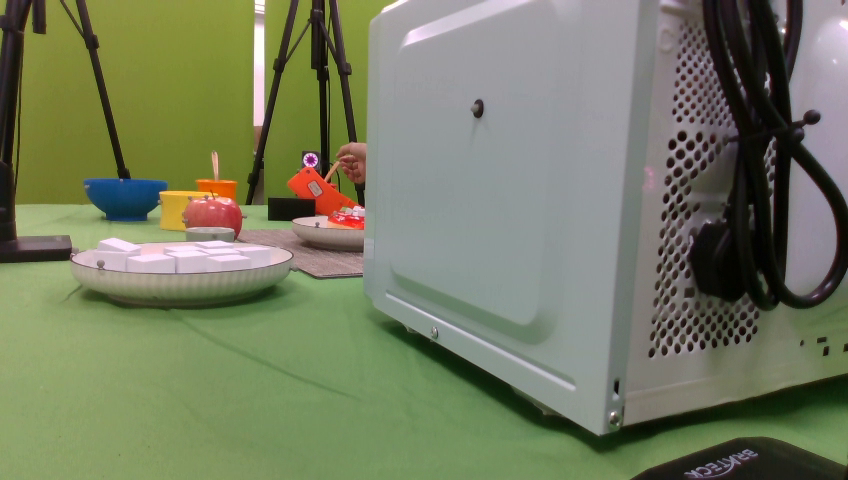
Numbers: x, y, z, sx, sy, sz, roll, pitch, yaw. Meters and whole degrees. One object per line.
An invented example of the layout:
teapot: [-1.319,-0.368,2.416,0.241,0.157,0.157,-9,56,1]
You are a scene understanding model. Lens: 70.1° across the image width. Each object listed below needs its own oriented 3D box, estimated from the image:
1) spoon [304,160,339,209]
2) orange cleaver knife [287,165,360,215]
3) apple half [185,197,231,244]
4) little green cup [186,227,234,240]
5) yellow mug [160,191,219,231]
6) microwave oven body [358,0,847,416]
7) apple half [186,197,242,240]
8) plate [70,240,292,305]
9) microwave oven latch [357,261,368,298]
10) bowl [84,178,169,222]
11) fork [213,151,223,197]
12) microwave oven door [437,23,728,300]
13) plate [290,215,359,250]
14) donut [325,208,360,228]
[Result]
spoon: [-0.259,-0.147,1.567,0.041,0.022,0.193,7,52,19]
orange cleaver knife: [-0.210,-0.093,1.382,0.212,0.077,0.012,33,1,-15]
apple half: [-0.337,-0.031,0.928,0.032,0.081,0.082,13,13,37]
little green cup: [-0.285,0.005,0.805,0.061,0.038,0.061,2,8,0]
yellow mug: [-0.416,-0.053,1.103,0.130,0.064,0.100,7,8,27]
microwave oven body: [0.211,-0.047,0.474,0.444,0.260,0.324,-1,7,-28]
apple half: [-0.306,-0.026,0.905,0.053,0.074,0.081,14,9,37]
plate: [-0.242,0.031,0.618,0.208,0.039,0.207,2,8,0]
microwave oven latch: [-0.019,0.033,0.530,0.079,0.029,0.030,-1,7,-26]
bowl: [-0.584,-0.078,1.194,0.151,0.077,0.151,3,8,0]
fork: [-0.494,-0.143,1.442,0.028,0.018,0.206,-2,52,-20]
microwave oven door: [0.181,-0.072,0.621,0.358,0.243,0.039,-2,8,-29]
plate: [-0.110,-0.014,0.973,0.209,0.038,0.209,3,8,0]
donut: [-0.110,-0.025,0.974,0.099,0.048,0.099,5,8,0]
